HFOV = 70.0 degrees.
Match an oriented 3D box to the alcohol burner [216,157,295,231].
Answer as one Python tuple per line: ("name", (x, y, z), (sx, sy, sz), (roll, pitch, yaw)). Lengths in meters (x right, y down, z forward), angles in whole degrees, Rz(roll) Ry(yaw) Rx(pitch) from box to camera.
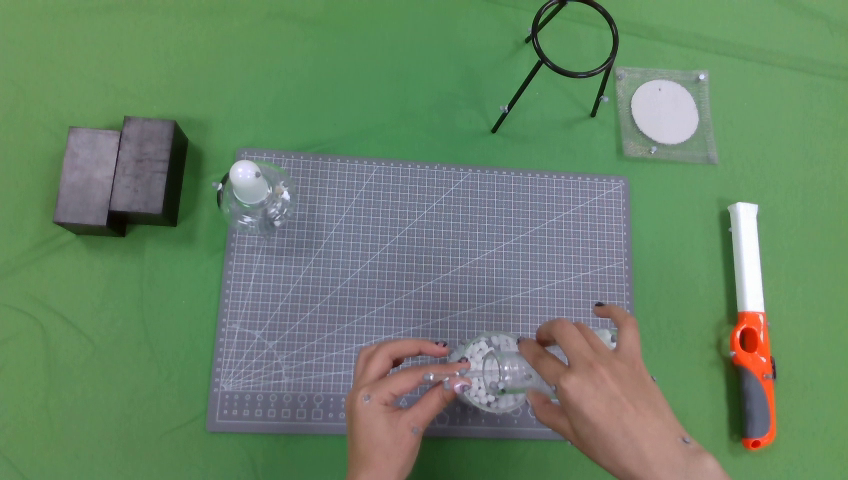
("alcohol burner", (-0.171, -0.050, 0.602), (0.078, 0.119, 0.077), (1, 78, -4))

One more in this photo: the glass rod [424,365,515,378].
("glass rod", (0.047, 0.115, 0.532), (0.008, 0.201, 0.008), (-5, 78, 26))

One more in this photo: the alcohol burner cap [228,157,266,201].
("alcohol burner cap", (-0.167, -0.060, 0.568), (0.034, 0.048, 0.033), (3, 70, -8))

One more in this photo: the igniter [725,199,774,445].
("igniter", (0.367, 0.088, 0.687), (0.057, 0.025, 0.275), (6, 77, -17))

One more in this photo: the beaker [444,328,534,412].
("beaker", (0.062, 0.126, 0.602), (0.084, 0.100, 0.074), (-39, 85, -13))

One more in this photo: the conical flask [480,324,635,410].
("conical flask", (0.111, 0.110, 0.520), (0.122, 0.075, 0.075), (2, 77, -19))

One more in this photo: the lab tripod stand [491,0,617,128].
("lab tripod stand", (0.140, -0.190, 0.663), (0.148, 0.131, 0.148), (1, 80, -7))

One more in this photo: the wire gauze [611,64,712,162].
("wire gauze", (0.292, -0.158, 0.740), (0.125, 0.011, 0.121), (2, 78, -8))
